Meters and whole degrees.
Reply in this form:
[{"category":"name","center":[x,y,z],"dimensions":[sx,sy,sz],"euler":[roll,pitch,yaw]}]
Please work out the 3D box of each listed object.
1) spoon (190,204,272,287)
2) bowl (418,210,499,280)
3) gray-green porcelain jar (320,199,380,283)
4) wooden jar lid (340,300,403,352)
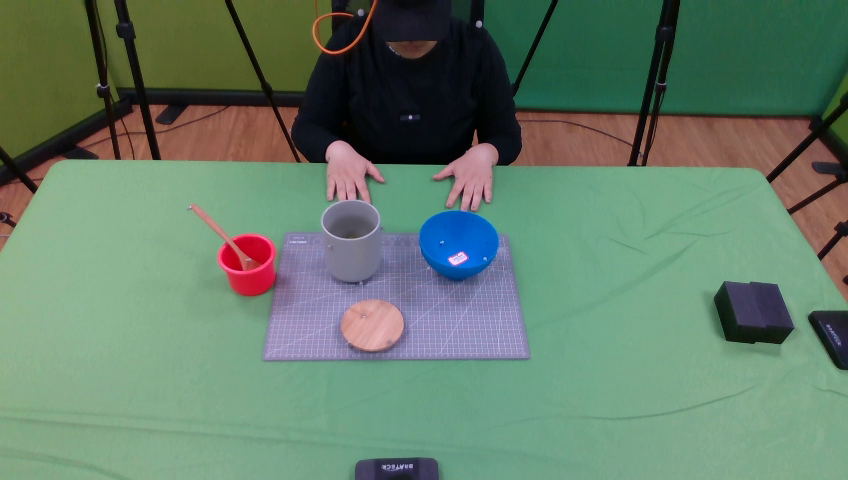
[{"category":"spoon","center":[-0.344,0.008,1.080],"dimensions":[0.194,0.021,0.041],"euler":[53,53,-16]},{"category":"bowl","center":[0.062,0.022,1.140],"dimensions":[0.151,0.077,0.150],"euler":[2,46,-2]},{"category":"gray-green porcelain jar","center":[-0.133,0.007,1.106],"dimensions":[0.106,0.127,0.105],"euler":[2,46,-2]},{"category":"wooden jar lid","center":[-0.090,0.150,1.046],"dimensions":[0.108,0.021,0.107],"euler":[3,47,-3]}]
